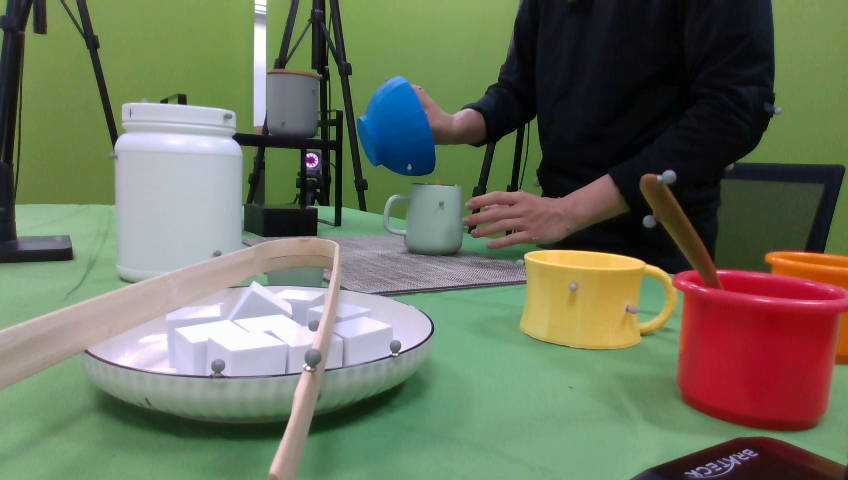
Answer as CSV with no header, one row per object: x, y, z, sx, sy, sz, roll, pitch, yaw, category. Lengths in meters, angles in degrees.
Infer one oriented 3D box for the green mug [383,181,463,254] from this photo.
-0.001,-0.035,0.922,0.126,0.105,0.092,0,8,-16,green mug

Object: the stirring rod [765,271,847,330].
0.352,0.020,0.481,0.176,0.006,0.014,-40,-8,17,stirring rod

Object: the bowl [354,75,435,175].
-0.051,-0.157,0.887,0.077,0.151,0.151,-22,14,-14,bowl

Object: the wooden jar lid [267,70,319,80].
-0.275,-0.339,1.271,0.108,0.020,0.108,5,6,0,wooden jar lid

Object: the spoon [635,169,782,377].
0.161,0.026,0.346,0.021,0.194,0.041,-51,32,-20,spoon

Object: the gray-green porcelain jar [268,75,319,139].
-0.277,-0.279,1.280,0.106,0.126,0.106,2,8,0,gray-green porcelain jar

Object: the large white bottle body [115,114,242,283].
-0.270,-0.051,0.673,0.131,0.184,0.130,2,8,0,large white bottle body

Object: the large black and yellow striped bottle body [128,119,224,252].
-0.361,-0.081,0.887,0.131,0.184,0.130,2,8,0,large black and yellow striped bottle body

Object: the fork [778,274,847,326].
0.332,0.019,0.443,0.028,0.018,0.207,-3,-35,-16,fork

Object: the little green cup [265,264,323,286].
-0.134,0.034,0.628,0.061,0.038,0.061,3,6,0,little green cup

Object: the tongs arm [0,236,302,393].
-0.157,0.038,0.347,0.028,0.028,0.388,-3,8,11,tongs arm

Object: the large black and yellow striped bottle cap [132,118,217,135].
-0.359,-0.164,0.875,0.115,0.019,0.115,2,6,0,large black and yellow striped bottle cap

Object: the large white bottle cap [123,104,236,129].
-0.266,-0.134,0.663,0.115,0.018,0.115,3,7,0,large white bottle cap

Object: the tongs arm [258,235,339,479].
-0.074,0.040,0.345,0.051,0.026,0.384,-1,10,-3,tongs arm

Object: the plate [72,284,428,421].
-0.102,0.067,0.381,0.208,0.039,0.207,3,7,0,plate

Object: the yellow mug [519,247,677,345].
0.148,0.045,0.513,0.131,0.064,0.100,3,7,0,yellow mug
